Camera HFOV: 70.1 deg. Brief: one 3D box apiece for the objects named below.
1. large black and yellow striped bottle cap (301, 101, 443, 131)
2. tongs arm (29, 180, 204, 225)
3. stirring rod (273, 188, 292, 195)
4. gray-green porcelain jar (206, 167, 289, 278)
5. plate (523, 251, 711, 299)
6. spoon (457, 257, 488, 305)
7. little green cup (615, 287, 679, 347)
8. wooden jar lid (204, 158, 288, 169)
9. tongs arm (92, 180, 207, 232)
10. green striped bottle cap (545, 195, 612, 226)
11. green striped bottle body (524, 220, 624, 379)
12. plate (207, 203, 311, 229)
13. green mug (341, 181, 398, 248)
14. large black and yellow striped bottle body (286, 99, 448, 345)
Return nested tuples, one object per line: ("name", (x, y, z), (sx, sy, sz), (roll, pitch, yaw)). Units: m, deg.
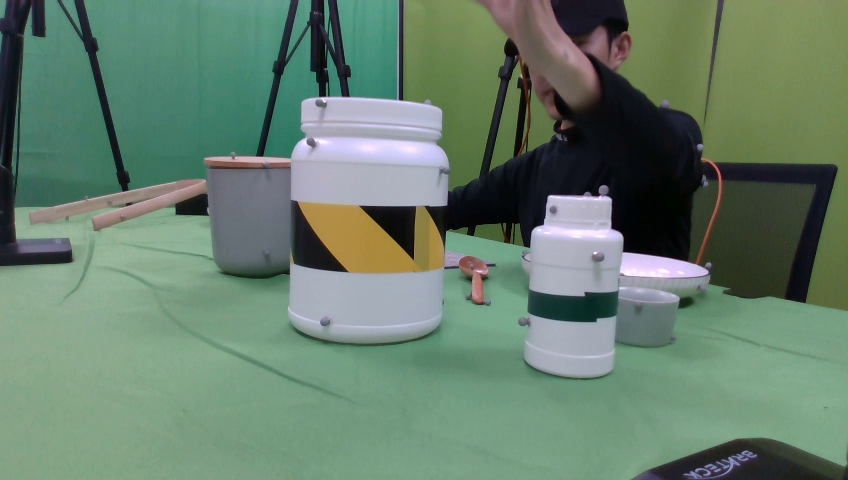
("large black and yellow striped bottle cap", (-0.042, -0.100, 0.491), (0.115, 0.019, 0.115), (1, 8, 0))
("tongs arm", (-0.609, -0.083, 1.245), (0.050, 0.026, 0.386), (5, 16, 23))
("stirring rod", (-0.353, -0.122, 1.519), (0.006, 0.014, 0.176), (2, 7, 1))
("gray-green porcelain jar", (-0.201, -0.024, 0.724), (0.106, 0.126, 0.106), (-1, 9, 1))
("plate", (0.219, 0.041, 0.706), (0.209, 0.038, 0.209), (2, 7, 0))
("spoon", (0.059, 0.044, 0.696), (0.041, 0.021, 0.194), (21, 7, 0))
("little green cup", (0.180, 0.064, 0.506), (0.061, 0.038, 0.061), (2, 8, 0))
("wooden jar lid", (-0.202, -0.085, 0.714), (0.108, 0.020, 0.108), (3, 11, 0))
("tongs arm", (-0.534, -0.076, 1.221), (0.028, 0.028, 0.388), (-2, 15, 12))
("green striped bottle cap", (0.106, -0.020, 0.414), (0.044, 0.020, 0.044), (2, 4, 0))
("green striped bottle body", (0.104, 0.030, 0.422), (0.063, 0.119, 0.063), (2, 8, 0))
("plate", (-0.342, -0.050, 1.259), (0.208, 0.039, 0.207), (3, 7, 0))
("green mug", (-0.090, -0.044, 0.996), (0.093, 0.105, 0.125), (1, 7, -10))
("large black and yellow striped bottle body", (-0.047, -0.018, 0.501), (0.131, 0.184, 0.130), (2, 7, 0))
